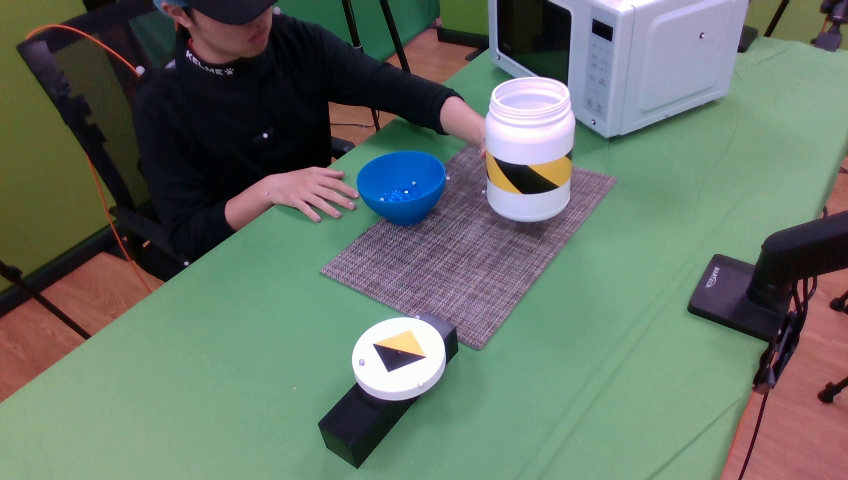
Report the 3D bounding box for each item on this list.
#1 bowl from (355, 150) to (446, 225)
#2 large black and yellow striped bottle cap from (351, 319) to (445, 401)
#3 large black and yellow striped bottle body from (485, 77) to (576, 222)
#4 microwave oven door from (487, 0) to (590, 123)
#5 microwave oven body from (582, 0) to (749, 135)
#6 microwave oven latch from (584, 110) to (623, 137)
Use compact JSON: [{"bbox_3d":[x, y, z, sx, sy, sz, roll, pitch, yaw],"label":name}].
[{"bbox_3d":[-0.035,-0.078,1.017,0.151,0.077,0.150,-4,40,4],"label":"bowl"},{"bbox_3d":[-0.031,0.143,0.735,0.115,0.019,0.114,-3,40,3],"label":"large black and yellow striped bottle cap"},{"bbox_3d":[0.158,-0.134,0.900,0.131,0.185,0.130,-4,38,3],"label":"large black and yellow striped bottle body"},{"bbox_3d":[0.232,-0.420,1.230,0.039,0.245,0.352,-22,43,-16],"label":"microwave oven door"},{"bbox_3d":[0.382,-0.444,1.246,0.327,0.261,0.437,-22,42,-16],"label":"microwave oven body"},{"bbox_3d":[0.337,-0.222,1.142,0.030,0.029,0.078,-21,42,-14],"label":"microwave oven latch"}]
